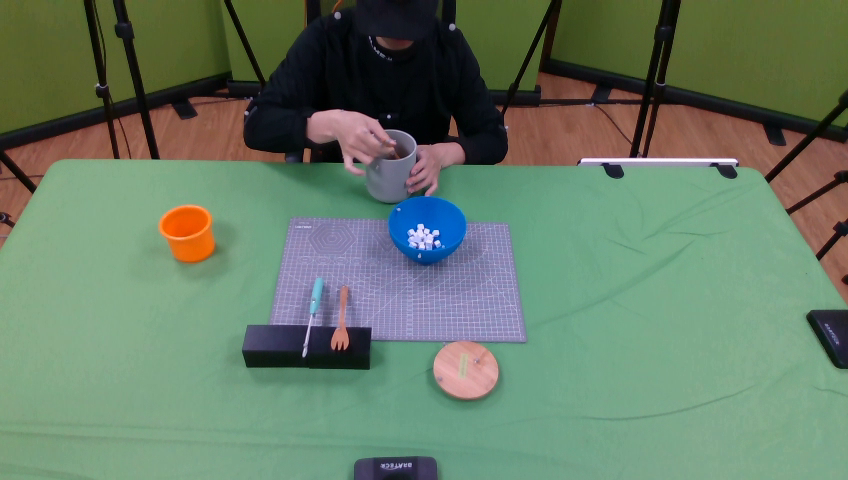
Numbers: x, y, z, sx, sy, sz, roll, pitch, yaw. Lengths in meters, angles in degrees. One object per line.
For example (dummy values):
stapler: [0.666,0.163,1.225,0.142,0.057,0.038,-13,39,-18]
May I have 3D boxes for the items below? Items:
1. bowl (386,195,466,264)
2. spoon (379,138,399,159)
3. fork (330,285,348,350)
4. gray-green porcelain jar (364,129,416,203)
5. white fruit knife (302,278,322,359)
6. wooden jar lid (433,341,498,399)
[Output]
bowl: [0.003,-0.007,1.162,0.151,0.077,0.150,2,46,-2]
spoon: [-0.069,-0.178,1.202,0.041,0.194,0.021,22,85,8]
fork: [-0.140,0.127,1.021,0.028,0.019,0.206,-5,28,-2]
gray-green porcelain jar: [-0.072,-0.150,1.264,0.106,0.127,0.105,3,46,-2]
white fruit knife: [-0.189,0.126,1.020,0.016,0.027,0.206,0,33,-2]
wooden jar lid: [0.068,0.216,0.997,0.108,0.021,0.107,1,46,-1]
